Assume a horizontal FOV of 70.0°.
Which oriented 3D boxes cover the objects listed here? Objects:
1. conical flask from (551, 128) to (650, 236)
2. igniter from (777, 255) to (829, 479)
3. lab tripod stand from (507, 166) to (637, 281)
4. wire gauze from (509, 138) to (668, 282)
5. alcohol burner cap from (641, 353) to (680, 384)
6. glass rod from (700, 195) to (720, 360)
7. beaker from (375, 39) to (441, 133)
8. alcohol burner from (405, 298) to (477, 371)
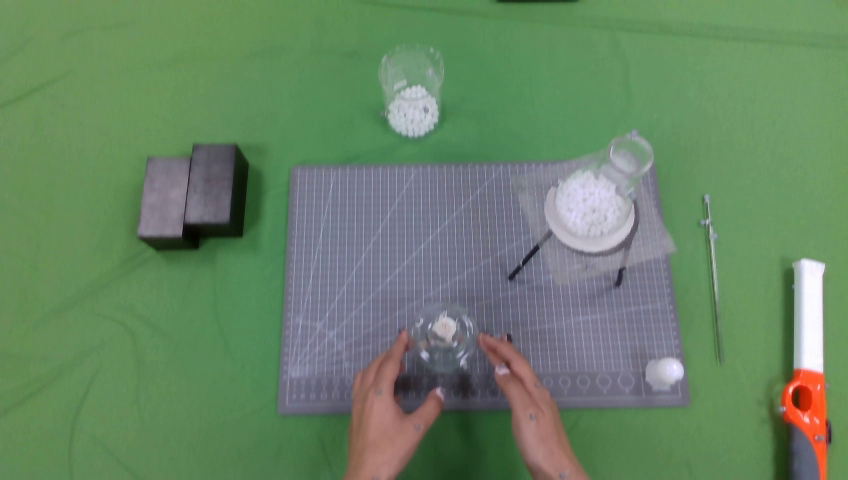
[{"bbox_3d":[0.160,-0.054,0.536,0.075,0.122,0.075,0,74,0],"label":"conical flask"},{"bbox_3d":[0.415,0.150,0.663,0.057,0.025,0.275,14,73,-7],"label":"igniter"},{"bbox_3d":[0.162,-0.009,0.653,0.148,0.132,0.147,0,74,1],"label":"lab tripod stand"},{"bbox_3d":[0.161,-0.030,0.590,0.125,0.011,0.121,-16,76,-7],"label":"wire gauze"},{"bbox_3d":[0.259,0.138,0.655,0.034,0.048,0.033,0,73,-1],"label":"alcohol burner cap"},{"bbox_3d":[0.333,0.039,0.707,0.008,0.008,0.198,3,72,1],"label":"glass rod"},{"bbox_3d":[-0.015,-0.181,0.727,0.084,0.101,0.073,-41,77,-12],"label":"beaker"},{"bbox_3d":[0.019,0.095,0.630,0.078,0.119,0.077,1,73,-2],"label":"alcohol burner"}]
